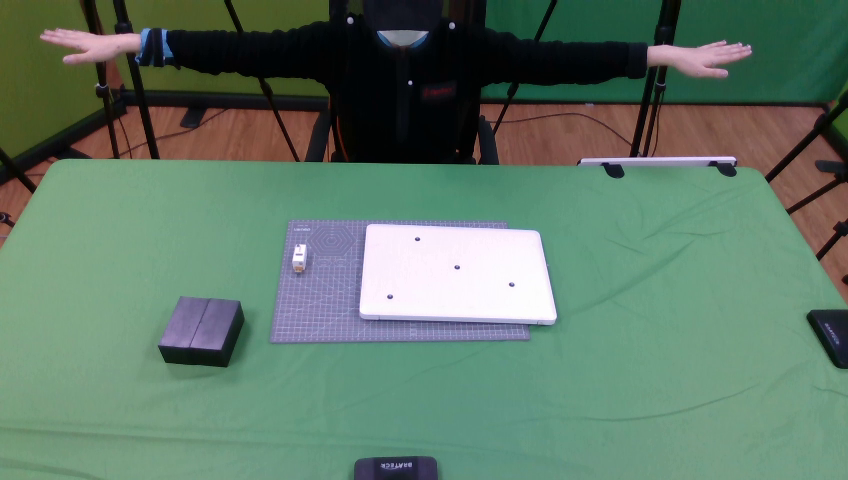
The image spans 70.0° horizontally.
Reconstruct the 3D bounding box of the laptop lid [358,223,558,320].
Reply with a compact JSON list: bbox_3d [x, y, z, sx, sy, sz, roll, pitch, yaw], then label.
[{"bbox_3d":[0.061,0.053,1.138,0.357,0.013,0.240,3,44,-2],"label":"laptop lid"}]

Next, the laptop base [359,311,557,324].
[{"bbox_3d":[0.061,0.063,1.145,0.354,0.023,0.234,2,43,-3],"label":"laptop base"}]

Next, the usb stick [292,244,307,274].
[{"bbox_3d":[-0.234,0.036,1.137,0.021,0.027,0.059,3,49,-4],"label":"usb stick"}]
